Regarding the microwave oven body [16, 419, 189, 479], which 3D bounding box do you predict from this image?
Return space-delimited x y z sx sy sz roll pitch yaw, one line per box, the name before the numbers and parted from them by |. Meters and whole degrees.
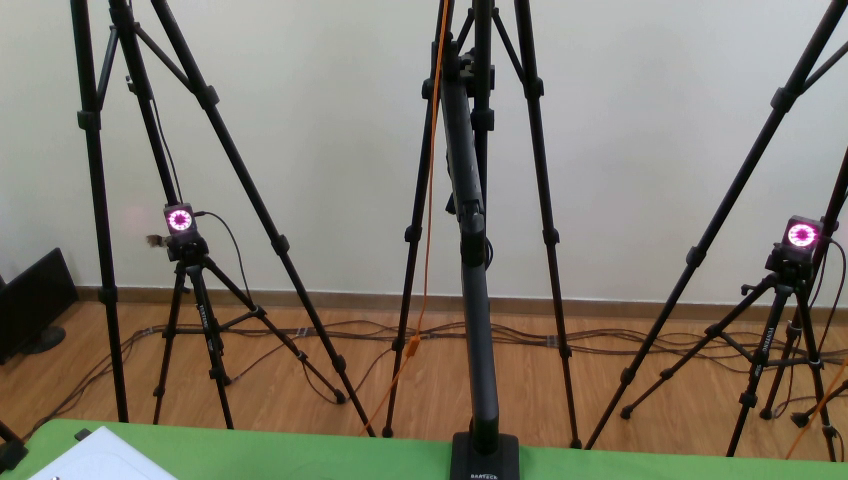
microwave oven body | -0.453 0.489 0.703 0.323 0.262 0.441 18 38 28
